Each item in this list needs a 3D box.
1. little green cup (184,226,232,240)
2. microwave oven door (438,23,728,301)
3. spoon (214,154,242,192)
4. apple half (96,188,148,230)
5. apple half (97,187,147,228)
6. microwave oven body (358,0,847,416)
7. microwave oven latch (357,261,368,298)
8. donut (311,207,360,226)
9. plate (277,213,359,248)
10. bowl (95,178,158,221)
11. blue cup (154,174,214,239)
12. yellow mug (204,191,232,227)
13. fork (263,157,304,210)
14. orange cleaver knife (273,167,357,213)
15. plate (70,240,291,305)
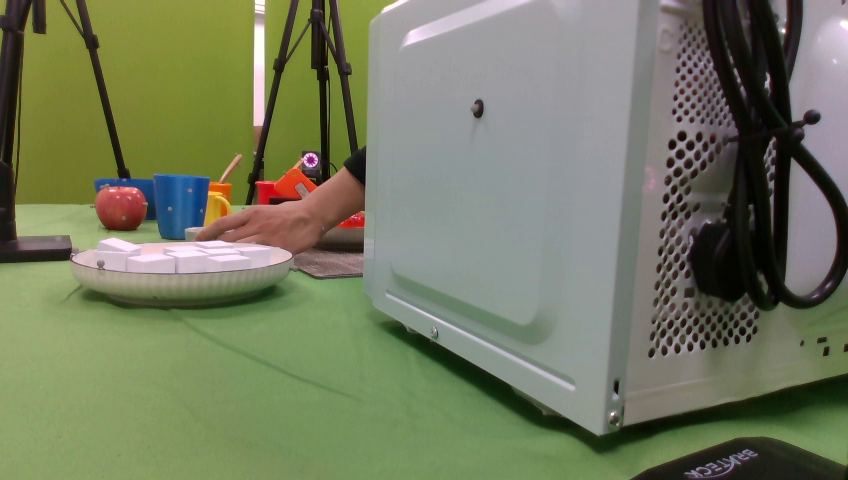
[{"bbox_3d":[-0.285,0.004,0.804,0.061,0.038,0.061,-1,9,1],"label":"little green cup"},{"bbox_3d":[0.181,-0.072,0.620,0.358,0.243,0.039,-2,8,-29],"label":"microwave oven door"},{"bbox_3d":[-0.439,-0.124,1.318,0.041,0.193,0.022,5,-36,17],"label":"spoon"},{"bbox_3d":[-0.517,-0.052,1.036,0.081,0.074,0.053,2,10,-26],"label":"apple half"},{"bbox_3d":[-0.534,-0.059,1.070,0.082,0.081,0.032,-1,11,-25],"label":"apple half"},{"bbox_3d":[0.211,-0.047,0.474,0.444,0.260,0.324,-1,7,-28],"label":"microwave oven body"},{"bbox_3d":[-0.019,0.033,0.530,0.079,0.029,0.030,0,7,-25],"label":"microwave oven latch"},{"bbox_3d":[-0.137,-0.029,0.995,0.099,0.048,0.099,3,8,0],"label":"donut"},{"bbox_3d":[-0.135,-0.017,0.992,0.209,0.038,0.209,3,8,0],"label":"plate"},{"bbox_3d":[-0.576,-0.081,1.217,0.151,0.077,0.151,3,8,0],"label":"bowl"},{"bbox_3d":[-0.391,-0.054,0.978,0.093,0.100,0.092,4,6,0],"label":"blue cup"},{"bbox_3d":[-0.415,-0.057,1.131,0.130,0.064,0.100,6,7,16],"label":"yellow mug"},{"bbox_3d":[-0.345,-0.143,1.505,0.028,0.019,0.207,-3,46,27],"label":"fork"},{"bbox_3d":[-0.238,-0.090,1.381,0.212,0.077,0.012,31,0,-19],"label":"orange cleaver knife"},{"bbox_3d":[-0.242,0.031,0.618,0.208,0.039,0.207,2,7,0],"label":"plate"}]
